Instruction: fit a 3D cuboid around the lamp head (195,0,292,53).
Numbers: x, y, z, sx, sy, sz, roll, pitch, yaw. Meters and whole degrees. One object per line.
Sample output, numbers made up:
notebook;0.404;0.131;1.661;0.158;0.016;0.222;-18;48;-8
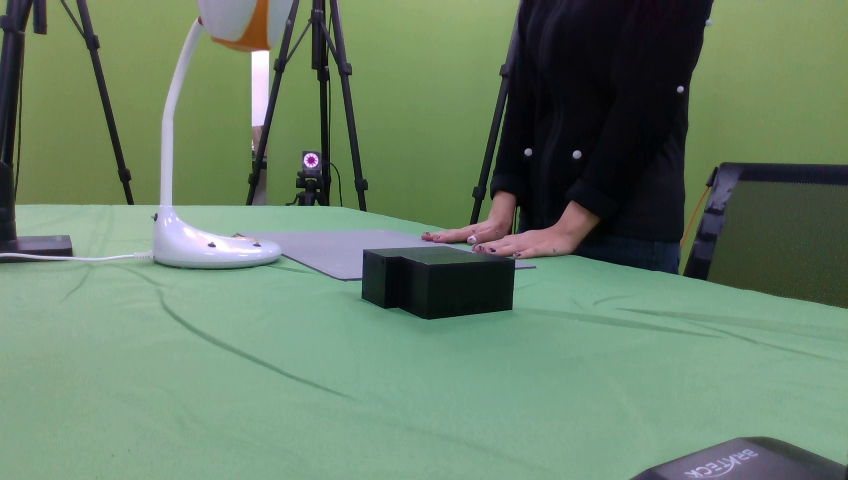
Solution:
lamp head;-0.185;-0.254;0.611;0.112;0.123;0.112;10;20;-3

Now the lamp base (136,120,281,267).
lamp base;-0.275;-0.061;0.773;0.160;0.180;0.180;9;13;44

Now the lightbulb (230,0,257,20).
lightbulb;-0.175;-0.275;0.603;0.059;0.107;0.059;11;11;-2
